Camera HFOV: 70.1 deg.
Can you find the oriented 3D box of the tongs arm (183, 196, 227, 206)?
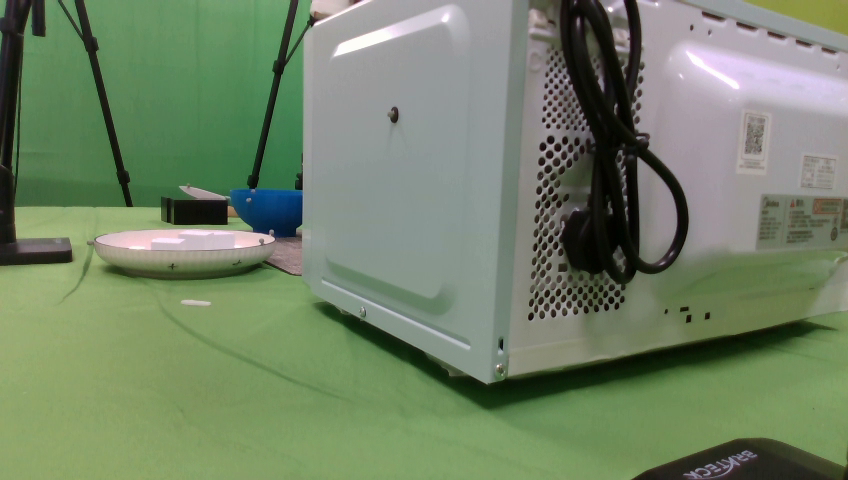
[{"bbox_3d":[-0.404,-0.081,1.479,0.385,0.026,0.050,3,8,-2],"label":"tongs arm"}]

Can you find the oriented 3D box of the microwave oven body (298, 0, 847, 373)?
[{"bbox_3d":[0.151,-0.055,0.542,0.444,0.260,0.324,-2,7,-33],"label":"microwave oven body"}]

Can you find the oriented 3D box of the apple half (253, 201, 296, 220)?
[{"bbox_3d":[-0.264,-0.053,1.067,0.081,0.033,0.081,1,8,0],"label":"apple half"}]

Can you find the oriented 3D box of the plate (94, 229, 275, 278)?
[{"bbox_3d":[-0.291,0.016,0.750,0.208,0.039,0.207,2,7,0],"label":"plate"}]

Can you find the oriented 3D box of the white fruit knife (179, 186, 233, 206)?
[{"bbox_3d":[-0.413,-0.081,1.270,0.208,0.027,0.016,18,13,-41],"label":"white fruit knife"}]

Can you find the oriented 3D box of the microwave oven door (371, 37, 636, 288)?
[{"bbox_3d":[0.110,-0.080,0.686,0.358,0.243,0.039,-2,9,-33],"label":"microwave oven door"}]

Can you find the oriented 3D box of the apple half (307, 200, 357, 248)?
[{"bbox_3d":[-0.135,-0.024,0.942,0.053,0.074,0.081,13,8,38],"label":"apple half"}]

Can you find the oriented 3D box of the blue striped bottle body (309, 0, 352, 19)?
[{"bbox_3d":[-0.132,-0.392,0.912,0.063,0.120,0.063,11,8,-1],"label":"blue striped bottle body"}]

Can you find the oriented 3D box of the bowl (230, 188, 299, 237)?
[{"bbox_3d":[-0.264,-0.048,1.066,0.151,0.077,0.151,3,8,0],"label":"bowl"}]

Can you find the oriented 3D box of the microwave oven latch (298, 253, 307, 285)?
[{"bbox_3d":[-0.081,0.027,0.582,0.079,0.029,0.030,-2,8,-33],"label":"microwave oven latch"}]

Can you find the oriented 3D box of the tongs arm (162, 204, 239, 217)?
[{"bbox_3d":[-0.396,-0.066,1.399,0.389,0.028,0.028,1,5,-15],"label":"tongs arm"}]
